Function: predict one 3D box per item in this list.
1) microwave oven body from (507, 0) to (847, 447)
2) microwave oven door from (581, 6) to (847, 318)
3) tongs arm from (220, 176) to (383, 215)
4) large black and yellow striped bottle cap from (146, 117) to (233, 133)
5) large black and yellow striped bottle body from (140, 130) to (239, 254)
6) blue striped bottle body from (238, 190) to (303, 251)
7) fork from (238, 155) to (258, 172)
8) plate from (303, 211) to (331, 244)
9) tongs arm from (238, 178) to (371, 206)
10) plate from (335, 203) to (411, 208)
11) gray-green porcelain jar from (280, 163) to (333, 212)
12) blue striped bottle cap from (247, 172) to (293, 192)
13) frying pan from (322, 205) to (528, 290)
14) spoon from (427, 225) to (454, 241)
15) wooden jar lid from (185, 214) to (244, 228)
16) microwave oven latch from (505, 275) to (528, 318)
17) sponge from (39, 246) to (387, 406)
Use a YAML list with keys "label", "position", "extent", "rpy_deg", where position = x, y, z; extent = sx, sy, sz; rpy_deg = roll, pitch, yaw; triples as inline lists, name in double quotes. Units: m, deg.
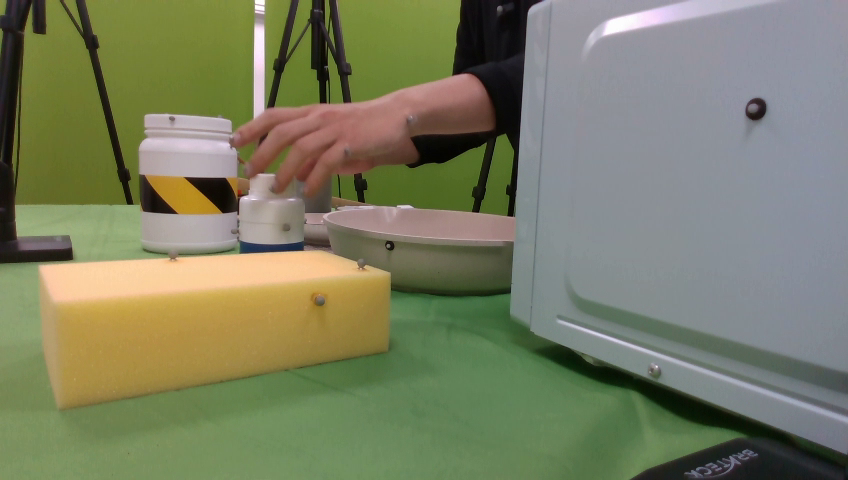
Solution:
- label: "microwave oven body"
  position: [0.331, -0.042, 0.425]
  extent: [0.444, 0.260, 0.324]
  rpy_deg: [-2, 8, -31]
- label: "microwave oven door"
  position: [0.295, -0.067, 0.569]
  extent: [0.358, 0.243, 0.039]
  rpy_deg: [-3, 8, -31]
- label: "tongs arm"
  position: [-0.285, -0.104, 1.445]
  extent: [0.389, 0.027, 0.028]
  rpy_deg: [9, -4, -23]
- label: "large black and yellow striped bottle cap"
  position: [-0.333, -0.163, 0.861]
  extent: [0.115, 0.019, 0.115]
  rpy_deg: [1, 9, 0]
- label: "large black and yellow striped bottle body"
  position: [-0.336, -0.078, 0.872]
  extent: [0.131, 0.184, 0.130]
  rpy_deg: [2, 8, 0]
- label: "blue striped bottle body"
  position: [-0.153, -0.007, 0.605]
  extent: [0.063, 0.120, 0.063]
  rpy_deg: [2, 7, 0]
- label: "fork"
  position: [-0.396, -0.143, 1.486]
  extent: [0.028, 0.018, 0.208]
  rpy_deg: [20, -26, 45]
- label: "plate"
  position: [-0.138, -0.022, 1.020]
  extent: [0.209, 0.038, 0.209]
  rpy_deg: [2, 8, 0]
- label: "tongs arm"
  position: [-0.241, -0.095, 1.373]
  extent: [0.387, 0.026, 0.050]
  rpy_deg: [9, 0, -37]
- label: "plate"
  position: [-0.089, -0.053, 1.309]
  extent: [0.208, 0.039, 0.207]
  rpy_deg: [2, 8, 0]
- label: "gray-green porcelain jar"
  position: [-0.238, -0.091, 1.221]
  extent: [0.106, 0.126, 0.106]
  rpy_deg: [2, 7, 0]
- label: "blue striped bottle cap"
  position: [-0.152, -0.057, 0.598]
  extent: [0.044, 0.020, 0.044]
  rpy_deg: [3, 6, 0]
- label: "frying pan"
  position: [0.110, -0.018, 0.800]
  extent: [0.490, 0.102, 0.305]
  rpy_deg: [-12, 16, -30]
- label: "spoon"
  position: [0.024, -0.018, 1.125]
  extent: [0.042, 0.021, 0.193]
  rpy_deg: [-16, 10, -4]
- label: "wooden jar lid"
  position: [-0.404, -0.037, 1.169]
  extent: [0.108, 0.020, 0.108]
  rpy_deg: [3, 7, 0]
- label: "microwave oven latch"
  position: [0.100, 0.041, 0.472]
  extent: [0.079, 0.029, 0.030]
  rpy_deg: [-2, 8, -30]
- label: "sponge"
  position: [-0.142, 0.047, 0.420]
  extent: [0.208, 0.061, 0.117]
  rpy_deg: [-4, 10, -36]
